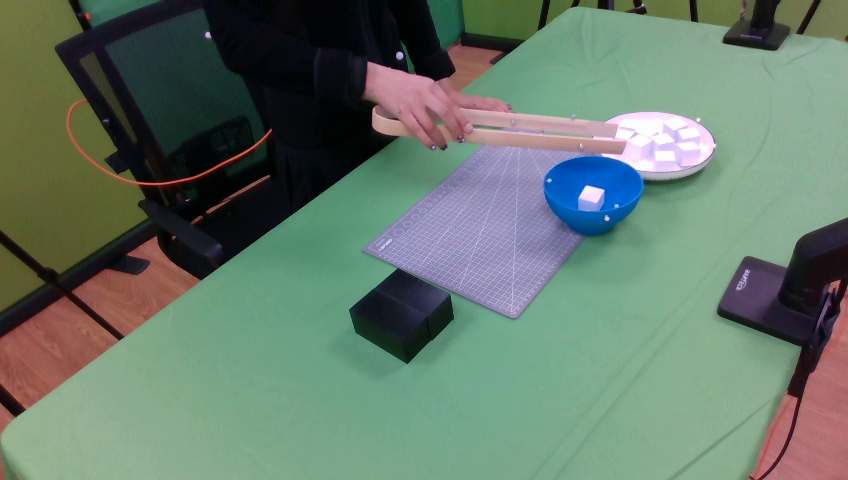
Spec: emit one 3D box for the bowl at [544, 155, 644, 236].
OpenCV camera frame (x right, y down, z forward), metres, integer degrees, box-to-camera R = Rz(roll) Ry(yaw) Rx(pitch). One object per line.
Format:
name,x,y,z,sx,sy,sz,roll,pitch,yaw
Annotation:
bowl,0.266,-0.061,0.957,0.151,0.077,0.150,-5,40,5

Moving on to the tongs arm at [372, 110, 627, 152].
tongs arm,0.113,-0.161,0.913,0.388,0.028,0.028,5,43,-3

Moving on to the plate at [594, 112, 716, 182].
plate,0.408,-0.163,1.084,0.207,0.039,0.206,-4,40,4

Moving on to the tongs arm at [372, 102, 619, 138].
tongs arm,0.114,-0.180,0.936,0.385,0.026,0.050,6,39,-1
